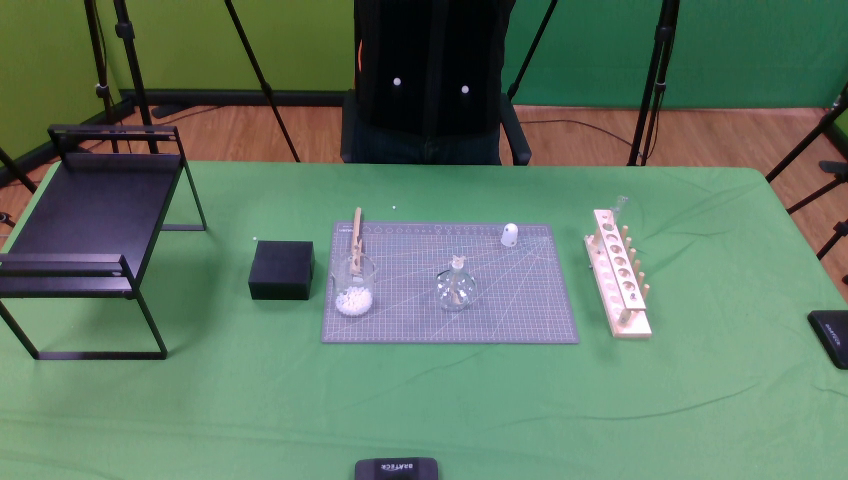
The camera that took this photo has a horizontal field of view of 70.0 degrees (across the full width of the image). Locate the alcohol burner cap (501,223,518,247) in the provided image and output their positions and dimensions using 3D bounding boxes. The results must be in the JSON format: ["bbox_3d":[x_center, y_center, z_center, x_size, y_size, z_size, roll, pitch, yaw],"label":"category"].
[{"bbox_3d":[0.172,-0.013,1.206,0.034,0.048,0.033,1,46,-1],"label":"alcohol burner cap"}]

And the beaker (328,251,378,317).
[{"bbox_3d":[-0.123,0.079,1.055,0.084,0.101,0.073,0,47,-5],"label":"beaker"}]

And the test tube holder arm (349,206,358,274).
[{"bbox_3d":[-0.137,-0.004,1.188,0.013,0.015,0.177,23,39,-26],"label":"test tube holder arm"}]

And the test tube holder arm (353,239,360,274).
[{"bbox_3d":[-0.130,0.030,1.159,0.010,0.015,0.087,24,38,-25],"label":"test tube holder arm"}]

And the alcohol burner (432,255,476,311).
[{"bbox_3d":[0.055,0.070,1.068,0.078,0.119,0.077,3,45,-3],"label":"alcohol burner"}]

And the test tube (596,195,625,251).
[{"bbox_3d":[0.349,-0.028,1.141,0.017,0.151,0.017,1,51,-2],"label":"test tube"}]

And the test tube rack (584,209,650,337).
[{"bbox_3d":[0.365,0.056,1.129,0.067,0.085,0.240,1,46,-4],"label":"test tube rack"}]
